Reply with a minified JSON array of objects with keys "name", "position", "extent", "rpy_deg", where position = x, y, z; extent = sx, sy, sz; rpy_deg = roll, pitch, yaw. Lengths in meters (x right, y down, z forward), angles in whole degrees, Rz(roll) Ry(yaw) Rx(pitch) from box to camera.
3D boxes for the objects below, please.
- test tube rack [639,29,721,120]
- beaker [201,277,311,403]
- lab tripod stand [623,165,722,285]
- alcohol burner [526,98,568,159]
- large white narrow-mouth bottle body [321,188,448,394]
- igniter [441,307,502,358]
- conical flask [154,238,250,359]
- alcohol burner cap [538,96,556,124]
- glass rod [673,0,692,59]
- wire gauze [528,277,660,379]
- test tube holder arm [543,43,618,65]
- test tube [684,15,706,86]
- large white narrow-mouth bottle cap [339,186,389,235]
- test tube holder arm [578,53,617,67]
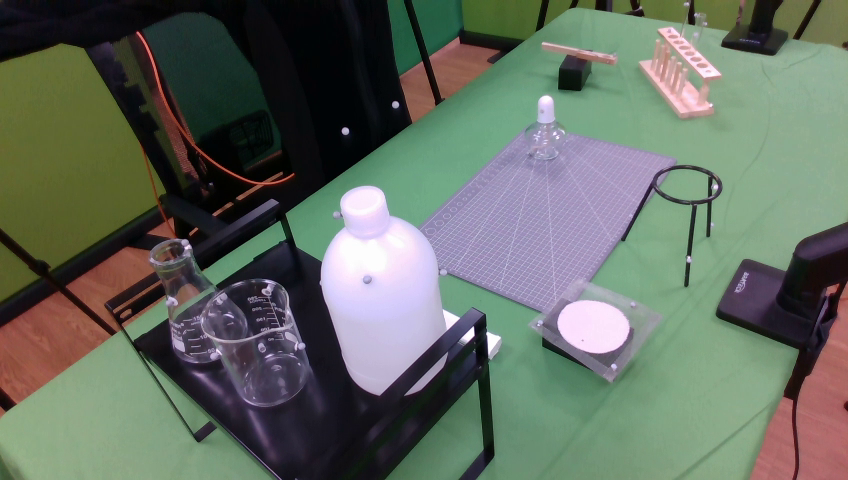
[{"name":"test tube rack","position":[0.527,-0.351,1.262],"extent":[0.067,0.085,0.241],"rpy_deg":[-8,40,1]},{"name":"beaker","position":[-0.146,0.095,0.555],"extent":[0.083,0.101,0.074],"rpy_deg":[11,44,20]},{"name":"lab tripod stand","position":[0.365,-0.030,0.874],"extent":[0.148,0.132,0.147],"rpy_deg":[-6,41,6]},{"name":"alcohol burner","position":[0.228,-0.210,1.118],"extent":[0.078,0.119,0.077],"rpy_deg":[-5,43,5]},{"name":"large white narrow-mouth bottle body","position":[-0.036,0.041,0.527],"extent":[0.102,0.195,0.101],"rpy_deg":[-5,41,5]},{"name":"igniter","position":[-0.009,0.094,0.870],"extent":[0.274,0.025,0.057],"rpy_deg":[25,60,33]},{"name":"conical flask","position":[-0.225,0.055,0.598],"extent":[0.075,0.122,0.075],"rpy_deg":[-5,41,4]},{"name":"alcohol burner cap","position":[0.222,-0.237,1.095],"extent":[0.034,0.048,0.033],"rpy_deg":[-7,34,5]},{"name":"glass rod","position":[0.537,-0.437,1.257],"extent":[0.008,0.200,0.008],"rpy_deg":[0,39,1]},{"name":"wire gauze","position":[0.213,0.103,0.763],"extent":[0.124,0.011,0.122],"rpy_deg":[30,52,35]},{"name":"test tube holder arm","position":[0.344,-0.413,1.341],"extent":[0.177,0.015,0.013],"rpy_deg":[25,51,31]},{"name":"test tube","position":[0.541,-0.378,1.215],"extent":[0.017,0.151,0.017],"rpy_deg":[-2,44,3]},{"name":"large white narrow-mouth bottle cap","position":[-0.046,-0.023,0.470],"extent":[0.038,0.024,0.037],"rpy_deg":[-4,41,4]},{"name":"test tube holder arm","position":[0.376,-0.393,1.314],"extent":[0.087,0.015,0.010],"rpy_deg":[26,51,32]}]
